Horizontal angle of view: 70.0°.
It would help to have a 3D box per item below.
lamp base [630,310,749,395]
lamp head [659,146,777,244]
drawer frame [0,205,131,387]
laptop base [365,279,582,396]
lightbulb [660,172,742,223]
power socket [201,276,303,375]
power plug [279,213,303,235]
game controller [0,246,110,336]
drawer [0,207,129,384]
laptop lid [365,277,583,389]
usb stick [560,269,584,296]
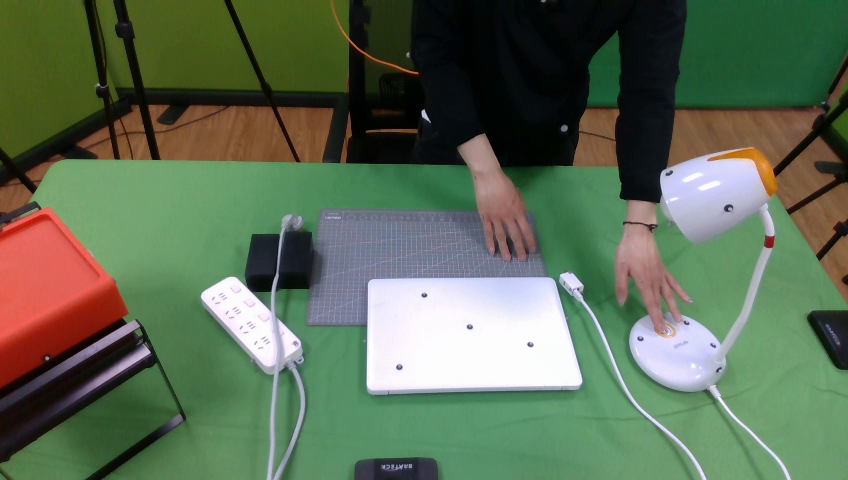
[{"bbox_3d":[0.447,0.142,0.984,0.161,0.181,0.178,-24,55,-24],"label":"lamp base"},{"bbox_3d":[0.388,-0.063,0.786,0.123,0.113,0.112,-22,32,37],"label":"lamp head"},{"bbox_3d":[-0.539,0.075,0.795,0.200,0.083,0.213,36,55,26],"label":"drawer frame"},{"bbox_3d":[0.077,0.162,1.053,0.355,0.023,0.234,0,44,-4],"label":"laptop base"},{"bbox_3d":[0.369,-0.060,0.808,0.060,0.107,0.059,19,59,-35],"label":"lightbulb"},{"bbox_3d":[-0.296,0.142,1.033,0.072,0.033,0.225,-34,58,-30],"label":"power socket"},{"bbox_3d":[-0.263,-0.022,1.184,0.035,0.053,0.072,2,48,32],"label":"power plug"},{"bbox_3d":[-0.511,0.062,0.830,0.097,0.052,0.154,-30,58,-31],"label":"game controller"},{"bbox_3d":[-0.539,0.074,0.799,0.193,0.073,0.211,37,55,27],"label":"drawer"},{"bbox_3d":[0.077,0.152,1.046,0.357,0.013,0.240,1,45,-3],"label":"laptop lid"},{"bbox_3d":[0.274,0.077,1.142,0.027,0.021,0.059,-11,39,-14],"label":"usb stick"}]
